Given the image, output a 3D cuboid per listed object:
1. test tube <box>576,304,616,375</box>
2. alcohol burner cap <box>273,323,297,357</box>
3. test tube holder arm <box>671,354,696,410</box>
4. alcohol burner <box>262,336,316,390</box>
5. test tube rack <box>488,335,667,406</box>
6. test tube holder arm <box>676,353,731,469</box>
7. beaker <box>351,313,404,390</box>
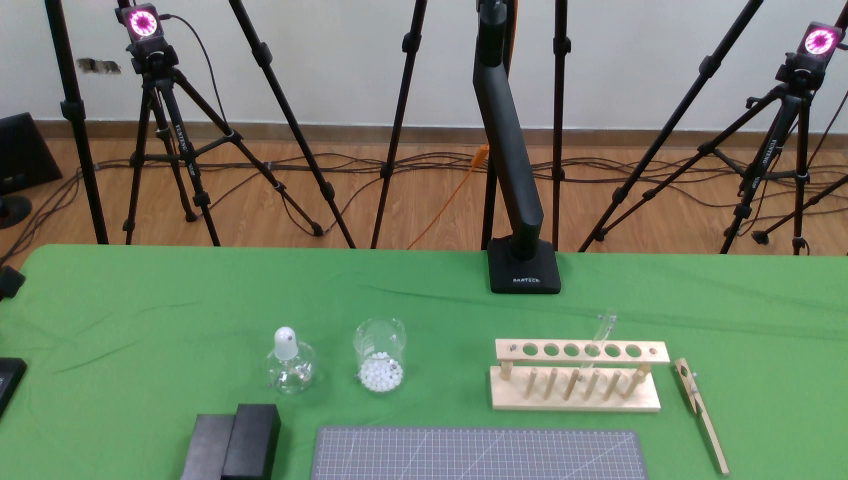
[{"bbox_3d":[0.240,0.143,0.855,0.017,0.151,0.017,4,43,-4],"label":"test tube"},{"bbox_3d":[-0.195,0.136,0.845,0.034,0.048,0.033,5,41,-4],"label":"alcohol burner cap"},{"bbox_3d":[0.393,0.213,0.910,0.010,0.015,0.087,-28,44,20],"label":"test tube holder arm"},{"bbox_3d":[-0.196,0.162,0.870,0.078,0.120,0.077,0,45,0],"label":"alcohol burner"},{"bbox_3d":[0.220,0.190,0.878,0.242,0.086,0.066,1,47,-1],"label":"test tube rack"},{"bbox_3d":[0.403,0.243,0.878,0.013,0.015,0.176,-29,44,20],"label":"test tube holder arm"},{"bbox_3d":[-0.064,0.164,0.883,0.073,0.101,0.084,32,53,25],"label":"beaker"}]
